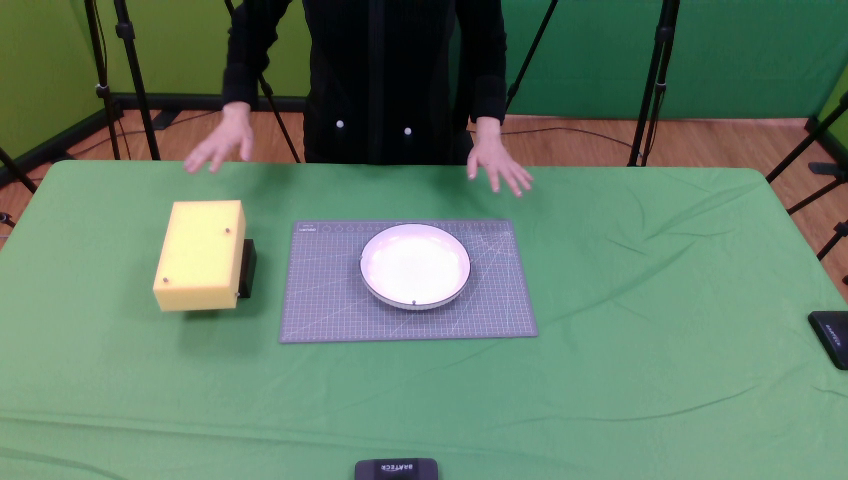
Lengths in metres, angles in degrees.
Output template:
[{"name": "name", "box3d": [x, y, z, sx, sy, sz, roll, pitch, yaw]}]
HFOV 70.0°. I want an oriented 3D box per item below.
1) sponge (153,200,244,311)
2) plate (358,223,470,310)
[{"name": "sponge", "box3d": [-0.384, 0.022, 1.051, 0.118, 0.061, 0.205, -3, 47, -7]}, {"name": "plate", "box3d": [-0.019, 0.052, 1.132, 0.209, 0.038, 0.208, 2, 46, -2]}]
